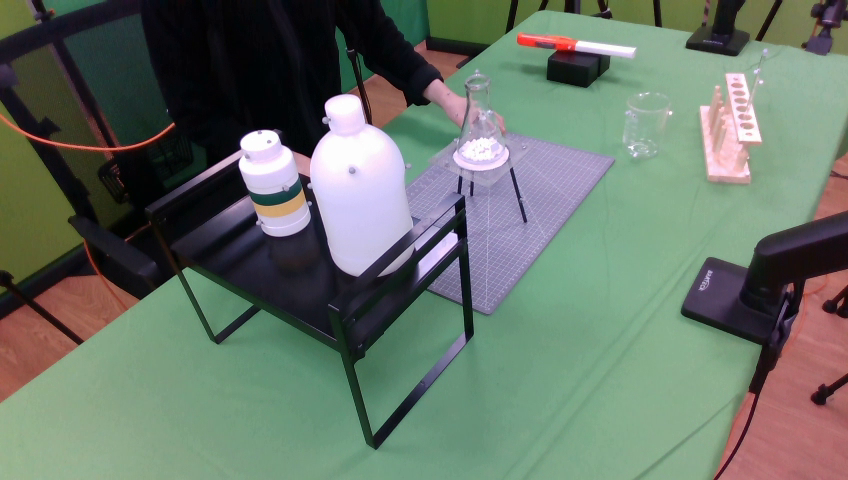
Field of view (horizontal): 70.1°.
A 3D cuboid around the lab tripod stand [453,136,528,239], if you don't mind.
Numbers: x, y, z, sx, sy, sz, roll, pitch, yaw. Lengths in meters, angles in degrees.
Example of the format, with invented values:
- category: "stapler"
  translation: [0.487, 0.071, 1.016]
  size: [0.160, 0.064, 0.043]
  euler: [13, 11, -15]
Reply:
- category: "lab tripod stand"
  translation: [0.095, -0.086, 0.974]
  size: [0.148, 0.132, 0.147]
  euler: [-4, 43, 4]

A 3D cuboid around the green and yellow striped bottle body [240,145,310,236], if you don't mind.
- category: "green and yellow striped bottle body"
  translation: [-0.181, -0.068, 0.729]
  size: [0.063, 0.120, 0.063]
  euler: [-4, 40, 4]

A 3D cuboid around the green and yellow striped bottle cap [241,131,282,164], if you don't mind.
- category: "green and yellow striped bottle cap"
  translation: [-0.187, -0.107, 0.695]
  size: [0.045, 0.020, 0.045]
  euler: [-3, 39, 3]

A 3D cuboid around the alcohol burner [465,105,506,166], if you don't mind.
- category: "alcohol burner"
  translation: [0.113, -0.198, 1.118]
  size: [0.078, 0.119, 0.077]
  euler: [-4, 43, 4]

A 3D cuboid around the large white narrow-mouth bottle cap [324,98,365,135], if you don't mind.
- category: "large white narrow-mouth bottle cap"
  translation: [-0.076, -0.120, 0.585]
  size: [0.038, 0.024, 0.037]
  euler: [-3, 42, 3]

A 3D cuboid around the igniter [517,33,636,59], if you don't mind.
- category: "igniter"
  translation: [0.336, -0.441, 1.369]
  size: [0.275, 0.025, 0.057]
  euler: [16, 41, 23]

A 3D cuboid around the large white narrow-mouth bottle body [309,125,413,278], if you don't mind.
- category: "large white narrow-mouth bottle body"
  translation: [-0.069, -0.057, 0.644]
  size: [0.102, 0.195, 0.101]
  euler: [-3, 42, 3]

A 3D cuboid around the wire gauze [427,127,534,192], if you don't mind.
- category: "wire gauze"
  translation: [0.086, -0.130, 0.925]
  size: [0.124, 0.011, 0.122]
  euler: [28, 54, 31]

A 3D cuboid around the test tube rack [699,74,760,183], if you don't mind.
- category: "test tube rack"
  translation: [0.547, -0.208, 1.095]
  size: [0.066, 0.085, 0.242]
  euler: [6, 42, 15]

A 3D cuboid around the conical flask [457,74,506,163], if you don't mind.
- category: "conical flask"
  translation: [0.082, -0.181, 0.893]
  size: [0.075, 0.122, 0.075]
  euler: [-4, 41, 4]

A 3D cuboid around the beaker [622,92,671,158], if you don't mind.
- category: "beaker"
  translation: [0.402, -0.210, 1.106]
  size: [0.074, 0.101, 0.083]
  euler: [-9, 40, -2]

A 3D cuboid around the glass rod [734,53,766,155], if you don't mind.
- category: "glass rod"
  translation: [0.540, -0.220, 1.007]
  size: [0.008, 0.201, 0.008]
  euler: [-5, 46, 6]

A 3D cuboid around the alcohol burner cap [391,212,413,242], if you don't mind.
- category: "alcohol burner cap"
  translation: [-0.038, -0.023, 0.989]
  size: [0.034, 0.048, 0.033]
  euler: [-5, 40, 5]
